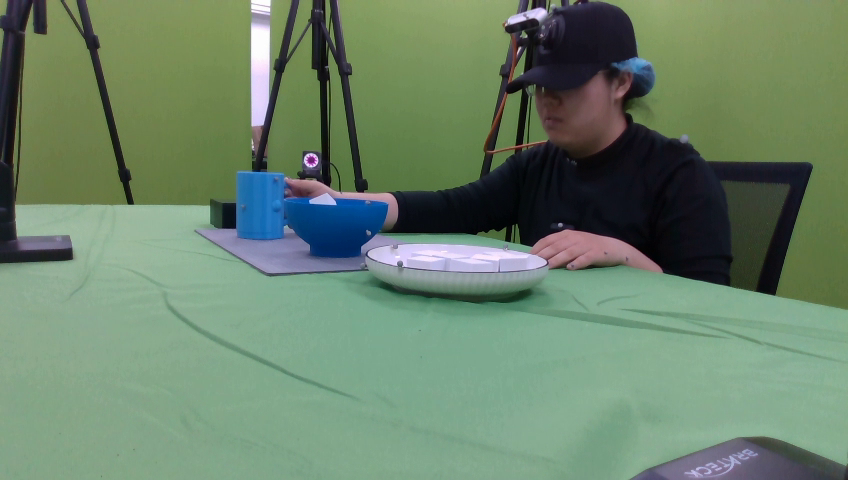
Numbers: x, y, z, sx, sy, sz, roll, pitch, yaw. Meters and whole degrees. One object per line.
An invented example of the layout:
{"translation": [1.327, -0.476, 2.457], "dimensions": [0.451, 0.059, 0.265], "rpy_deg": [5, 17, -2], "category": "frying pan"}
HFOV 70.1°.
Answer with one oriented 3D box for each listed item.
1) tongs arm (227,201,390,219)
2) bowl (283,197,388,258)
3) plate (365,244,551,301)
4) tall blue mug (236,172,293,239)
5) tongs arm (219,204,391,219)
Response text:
{"translation": [-0.275, -0.072, 1.446], "dimensions": [0.388, 0.027, 0.028], "rpy_deg": [2, 0, -4], "category": "tongs arm"}
{"translation": [-0.127, -0.018, 0.868], "dimensions": [0.151, 0.077, 0.151], "rpy_deg": [2, 7, 0], "category": "bowl"}
{"translation": [0.038, 0.035, 0.685], "dimensions": [0.209, 0.038, 0.209], "rpy_deg": [2, 7, 0], "category": "plate"}
{"translation": [-0.272, -0.061, 1.025], "dimensions": [0.078, 0.108, 0.107], "rpy_deg": [2, 7, 3], "category": "tall blue mug"}
{"translation": [-0.258, -0.064, 1.368], "dimensions": [0.386, 0.026, 0.050], "rpy_deg": [1, 3, -17], "category": "tongs arm"}
